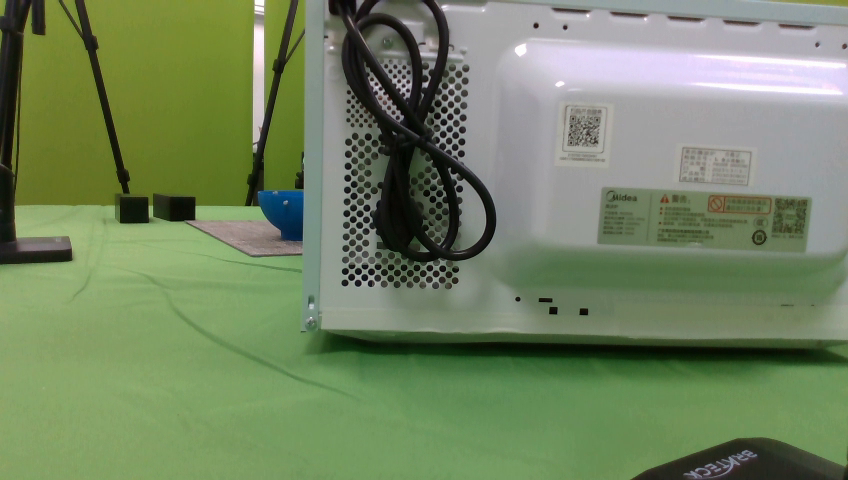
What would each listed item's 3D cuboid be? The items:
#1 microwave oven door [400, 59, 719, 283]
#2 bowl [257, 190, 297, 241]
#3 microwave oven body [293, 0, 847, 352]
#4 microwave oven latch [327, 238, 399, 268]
[{"bbox_3d":[0.154,-0.079,0.707,0.356,0.243,0.039,2,8,-2],"label":"microwave oven door"},{"bbox_3d":[-0.206,-0.041,1.027,0.151,0.077,0.151,3,8,0],"label":"bowl"},{"bbox_3d":[0.122,-0.055,0.550,0.442,0.260,0.325,3,7,-5],"label":"microwave oven body"},{"bbox_3d":[-0.069,0.015,0.694,0.079,0.029,0.030,3,7,-3],"label":"microwave oven latch"}]
